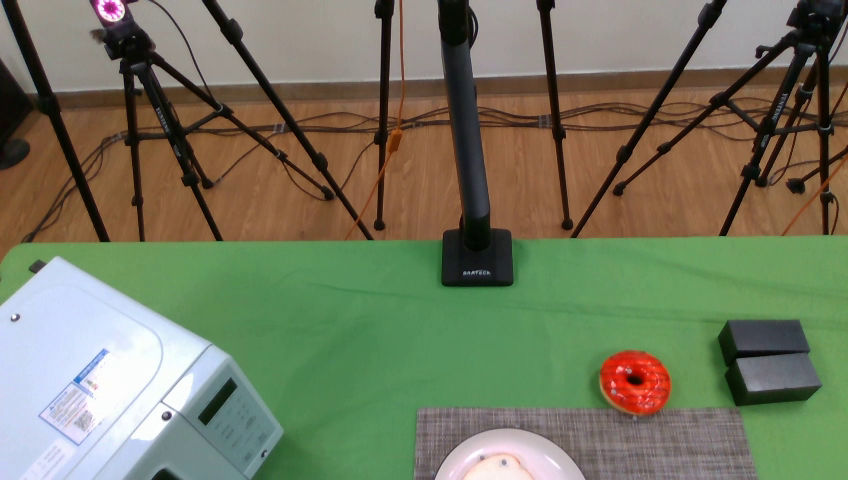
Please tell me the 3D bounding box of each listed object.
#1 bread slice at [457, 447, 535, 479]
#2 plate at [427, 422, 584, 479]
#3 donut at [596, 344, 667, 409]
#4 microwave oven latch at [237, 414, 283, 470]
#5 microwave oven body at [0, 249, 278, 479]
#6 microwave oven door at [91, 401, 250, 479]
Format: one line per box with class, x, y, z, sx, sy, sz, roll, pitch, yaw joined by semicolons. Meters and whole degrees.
bread slice;0.101;0.334;0.774;0.105;0.019;0.130;-25;55;-14
plate;0.103;0.338;0.769;0.207;0.039;0.205;-2;53;3
donut;0.294;0.194;0.860;0.099;0.049;0.098;-5;50;6
microwave oven latch;-0.227;0.272;0.831;0.030;0.030;0.079;25;60;21
microwave oven body;-0.452;0.286;0.719;0.324;0.262;0.440;23;59;20
microwave oven door;-0.347;0.365;0.643;0.039;0.246;0.354;23;58;21
